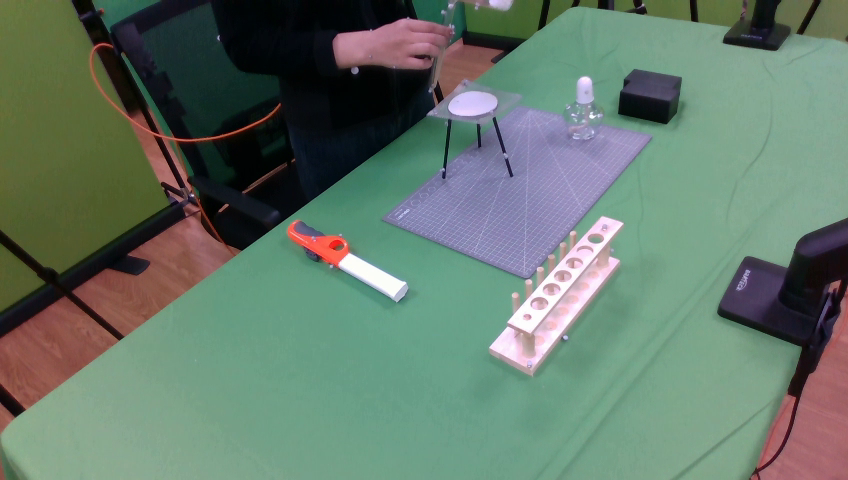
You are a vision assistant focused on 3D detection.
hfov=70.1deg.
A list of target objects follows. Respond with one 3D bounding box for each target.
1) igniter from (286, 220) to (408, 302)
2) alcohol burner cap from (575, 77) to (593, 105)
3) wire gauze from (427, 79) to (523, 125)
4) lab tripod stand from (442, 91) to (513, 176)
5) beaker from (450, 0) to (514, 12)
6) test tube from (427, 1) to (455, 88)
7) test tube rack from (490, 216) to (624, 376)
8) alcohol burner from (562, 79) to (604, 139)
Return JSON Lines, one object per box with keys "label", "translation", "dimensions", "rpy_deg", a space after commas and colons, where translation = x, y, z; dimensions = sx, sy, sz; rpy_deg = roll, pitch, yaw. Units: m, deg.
{"label": "igniter", "translation": [-0.133, 0.028, 0.969], "dimensions": [0.274, 0.025, 0.057], "rpy_deg": [26, 61, 35]}
{"label": "alcohol burner cap", "translation": [0.297, -0.279, 1.124], "dimensions": [0.034, 0.048, 0.033], "rpy_deg": [-8, 41, 8]}
{"label": "wire gauze", "translation": [0.088, -0.239, 1.050], "dimensions": [0.120, 0.011, 0.125], "rpy_deg": [22, 49, 30]}
{"label": "lab tripod stand", "translation": [0.096, -0.190, 1.096], "dimensions": [0.148, 0.132, 0.147], "rpy_deg": [-4, 40, 4]}
{"label": "beaker", "translation": [0.096, -0.410, 0.969], "dimensions": [0.100, 0.084, 0.073], "rpy_deg": [11, 30, -6]}
{"label": "test tube", "translation": [0.028, -0.329, 1.028], "dimensions": [0.017, 0.150, 0.017], "rpy_deg": [10, 36, -7]}
{"label": "test tube rack", "translation": [0.184, 0.064, 0.822], "dimensions": [0.066, 0.085, 0.243], "rpy_deg": [24, 50, 33]}
{"label": "alcohol burner", "translation": [0.303, -0.253, 1.147], "dimensions": [0.078, 0.119, 0.077], "rpy_deg": [-4, 41, 4]}
